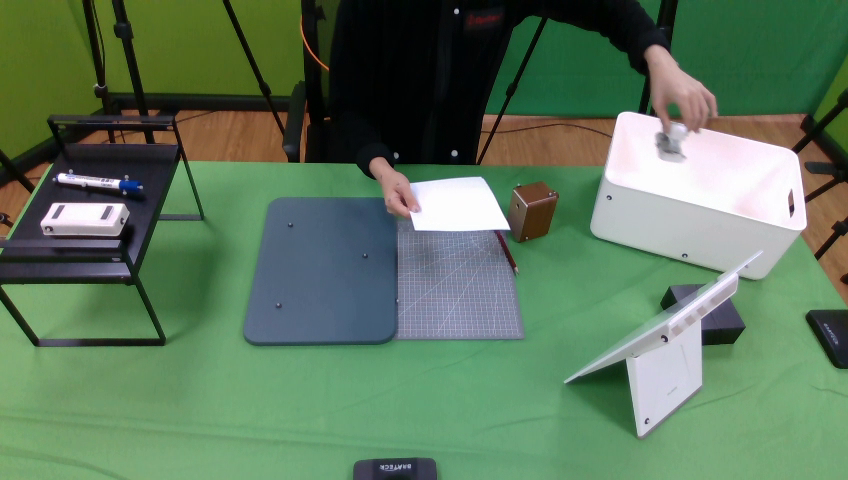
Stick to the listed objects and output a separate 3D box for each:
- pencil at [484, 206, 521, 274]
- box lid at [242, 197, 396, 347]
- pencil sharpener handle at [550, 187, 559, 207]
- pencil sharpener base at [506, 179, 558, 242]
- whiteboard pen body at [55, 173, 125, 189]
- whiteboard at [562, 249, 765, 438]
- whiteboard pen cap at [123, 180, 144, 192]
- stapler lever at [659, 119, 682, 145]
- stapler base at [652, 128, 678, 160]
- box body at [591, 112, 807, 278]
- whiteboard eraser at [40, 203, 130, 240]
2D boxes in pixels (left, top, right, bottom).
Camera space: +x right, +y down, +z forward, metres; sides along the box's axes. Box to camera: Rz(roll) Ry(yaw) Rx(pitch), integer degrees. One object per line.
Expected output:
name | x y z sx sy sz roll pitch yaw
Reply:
pencil | 0.157 -0.003 1.217 0.012 0.012 0.192 -10 47 -13
box lid | -0.186 0.046 1.147 0.263 0.015 0.369 0 46 -3
pencil sharpener handle | 0.261 -0.084 1.221 0.031 0.068 0.036 -16 66 -19
pencil sharpener base | 0.216 -0.059 1.211 0.077 0.107 0.061 -16 49 -19
whiteboard pen body | -0.539 -0.095 0.998 0.141 0.017 0.017 6 46 6
whiteboard | 0.386 0.175 0.905 0.217 0.306 0.143 -26 72 -26
whiteboard pen cap | -0.479 -0.089 0.993 0.033 0.018 0.018 7 46 14
stapler lever | 0.437 -0.201 1.077 0.027 0.040 0.117 14 29 10
stapler base | 0.435 -0.178 1.089 0.041 0.024 0.130 14 30 10
box body | 0.540 -0.092 1.229 0.363 0.161 0.253 16 47 11
whiteboard eraser | -0.513 -0.028 0.922 0.113 0.042 0.055 1 48 -3
